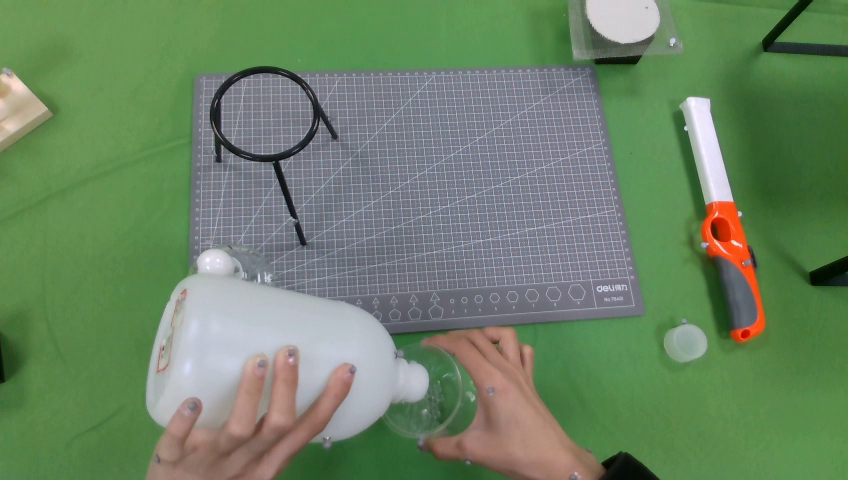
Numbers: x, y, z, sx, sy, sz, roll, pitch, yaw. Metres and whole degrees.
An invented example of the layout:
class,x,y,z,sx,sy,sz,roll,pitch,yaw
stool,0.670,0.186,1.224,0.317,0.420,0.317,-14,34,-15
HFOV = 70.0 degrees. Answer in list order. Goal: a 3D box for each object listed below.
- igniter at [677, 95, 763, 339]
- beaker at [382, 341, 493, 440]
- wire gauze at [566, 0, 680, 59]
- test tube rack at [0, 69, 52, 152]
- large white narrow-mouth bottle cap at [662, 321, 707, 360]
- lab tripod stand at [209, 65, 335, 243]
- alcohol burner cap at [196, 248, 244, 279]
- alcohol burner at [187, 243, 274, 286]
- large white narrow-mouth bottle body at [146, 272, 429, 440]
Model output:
class,x,y,z,sx,sy,sz,roll,pitch,yaw
igniter,0.317,-0.031,0.652,0.057,0.025,0.274,1,72,-16
beaker,0.011,0.133,0.522,0.083,0.101,0.073,3,71,25
wire gauze,0.217,-0.257,0.677,0.121,0.011,0.124,-2,72,-6
test tube rack,-0.489,-0.086,0.560,0.066,0.085,0.242,43,73,9
large white narrow-mouth bottle cap,0.261,0.101,0.608,0.038,0.024,0.037,1,71,-4
lab tripod stand,-0.137,-0.084,0.566,0.149,0.132,0.147,2,72,-7
alcohol burner cap,-0.170,0.024,0.499,0.034,0.048,0.033,1,76,-5
alcohol burner,-0.173,0.034,0.533,0.078,0.119,0.077,3,70,-6
large white narrow-mouth bottle body,-0.083,0.090,0.432,0.196,0.101,0.101,17,67,-31
